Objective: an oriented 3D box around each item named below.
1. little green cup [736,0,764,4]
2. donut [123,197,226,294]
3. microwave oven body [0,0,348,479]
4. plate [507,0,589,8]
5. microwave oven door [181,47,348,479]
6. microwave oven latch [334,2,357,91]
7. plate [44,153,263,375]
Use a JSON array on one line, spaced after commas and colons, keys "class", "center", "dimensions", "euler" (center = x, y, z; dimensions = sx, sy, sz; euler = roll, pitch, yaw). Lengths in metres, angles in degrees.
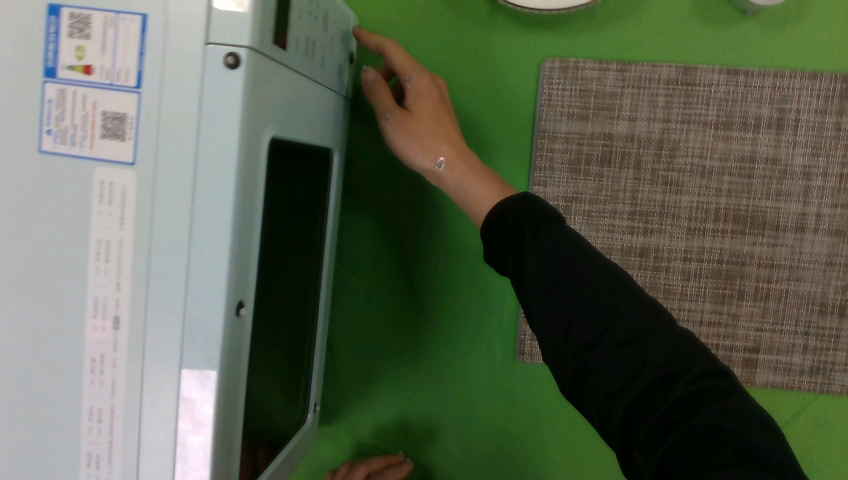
[{"class": "little green cup", "center": [0.296, -0.240, 0.534], "dimensions": [0.061, 0.038, 0.061], "euler": [1, 97, 8]}, {"class": "donut", "center": [-0.231, 0.007, 0.563], "dimensions": [0.099, 0.048, 0.100], "euler": [6, 119, 11]}, {"class": "microwave oven body", "center": [-0.263, -0.019, 0.518], "dimensions": [0.325, 0.260, 0.442], "euler": [8, 99, 6]}, {"class": "plate", "center": [0.117, -0.314, 0.547], "dimensions": [0.207, 0.039, 0.208], "euler": [1, 97, 7]}, {"class": "microwave oven door", "center": [-0.125, 0.043, 0.503], "dimensions": [0.039, 0.243, 0.356], "euler": [7, 98, 7]}, {"class": "microwave oven latch", "center": [-0.079, -0.182, 0.571], "dimensions": [0.030, 0.029, 0.079], "euler": [0, 98, 7]}, {"class": "plate", "center": [-0.250, 0.022, 0.573], "dimensions": [0.209, 0.038, 0.209], "euler": [1, 97, 6]}]
